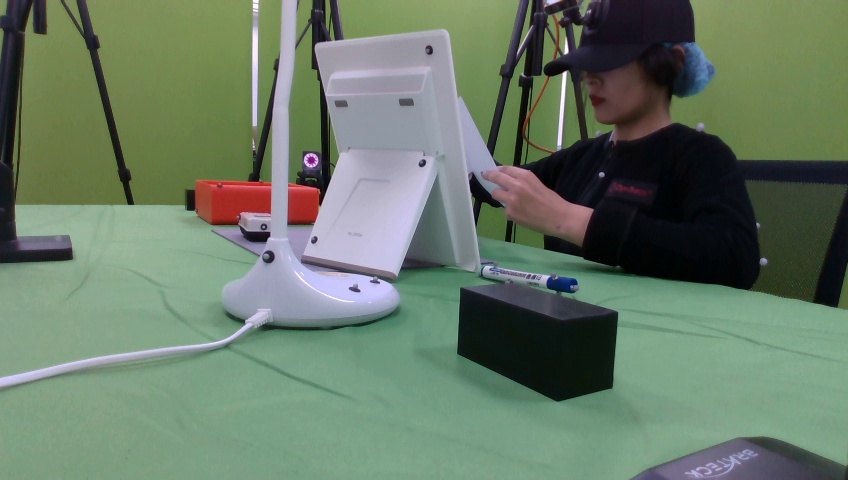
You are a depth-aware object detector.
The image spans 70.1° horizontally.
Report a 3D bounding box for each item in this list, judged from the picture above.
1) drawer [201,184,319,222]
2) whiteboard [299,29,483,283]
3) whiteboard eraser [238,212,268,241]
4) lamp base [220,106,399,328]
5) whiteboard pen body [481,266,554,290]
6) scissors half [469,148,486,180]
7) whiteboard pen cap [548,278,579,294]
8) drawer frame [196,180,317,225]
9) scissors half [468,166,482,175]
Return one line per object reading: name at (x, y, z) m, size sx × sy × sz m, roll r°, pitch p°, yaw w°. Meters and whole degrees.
drawer at (-0.353, -0.082, 1.296) m, size 0.213 × 0.073 × 0.193 m, roll -2°, pitch 10°, yaw -28°
whiteboard at (-0.074, -0.082, 0.742) m, size 0.216 × 0.305 × 0.144 m, roll 9°, pitch 29°, yaw 38°
whiteboard eraser at (-0.272, -0.023, 0.998) m, size 0.056 × 0.042 × 0.112 m, roll -2°, pitch 9°, yaw -24°
lamp base at (-0.102, -0.023, 0.531) m, size 0.160 × 0.180 × 0.179 m, roll 4°, pitch 10°, yaw 10°
whiteboard pen body at (0.115, 0.045, 0.695) m, size 0.017 × 0.017 × 0.140 m, roll -3°, pitch 6°, yaw -35°
scissors half at (0.095, -0.139, 1.116) m, size 0.013 × 0.040 × 0.175 m, roll 42°, pitch 24°, yaw -10°
whiteboard pen cap at (0.148, 0.049, 0.647) m, size 0.018 × 0.018 × 0.033 m, roll -3°, pitch 3°, yaw -35°
drawer frame at (-0.359, -0.083, 1.292) m, size 0.215 × 0.082 × 0.200 m, roll -2°, pitch 10°, yaw -30°
scissors half at (0.079, -0.121, 1.119) m, size 0.013 × 0.040 × 0.175 m, roll 37°, pitch -9°, yaw -10°
